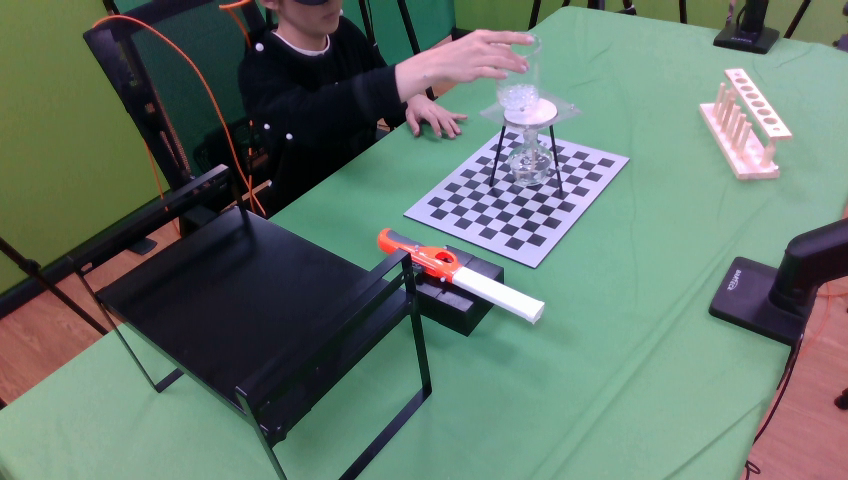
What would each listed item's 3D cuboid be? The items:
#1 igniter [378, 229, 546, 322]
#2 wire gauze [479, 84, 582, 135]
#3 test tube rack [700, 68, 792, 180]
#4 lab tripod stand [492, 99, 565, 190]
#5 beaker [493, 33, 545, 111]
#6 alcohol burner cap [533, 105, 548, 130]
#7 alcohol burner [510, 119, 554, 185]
[{"bbox_3d":[0.041,0.043,0.843,0.274,0.025,0.057,24,47,29],"label":"igniter"},{"bbox_3d":[0.176,-0.216,1.006,0.125,0.011,0.120,-29,46,-21],"label":"wire gauze"},{"bbox_3d":[0.572,-0.215,1.090,0.066,0.085,0.241,-3,41,7],"label":"test tube rack"},{"bbox_3d":[0.184,-0.163,1.046,0.148,0.132,0.147,-5,43,5],"label":"lab tripod stand"},{"bbox_3d":[0.147,-0.261,0.949,0.074,0.101,0.083,-38,52,-22],"label":"beaker"},{"bbox_3d":[0.235,-0.251,1.217,0.034,0.048,0.033,-5,41,5],"label":"alcohol burner cap"},{"bbox_3d":[0.188,-0.157,1.054,0.078,0.119,0.077,-4,39,4],"label":"alcohol burner"}]
